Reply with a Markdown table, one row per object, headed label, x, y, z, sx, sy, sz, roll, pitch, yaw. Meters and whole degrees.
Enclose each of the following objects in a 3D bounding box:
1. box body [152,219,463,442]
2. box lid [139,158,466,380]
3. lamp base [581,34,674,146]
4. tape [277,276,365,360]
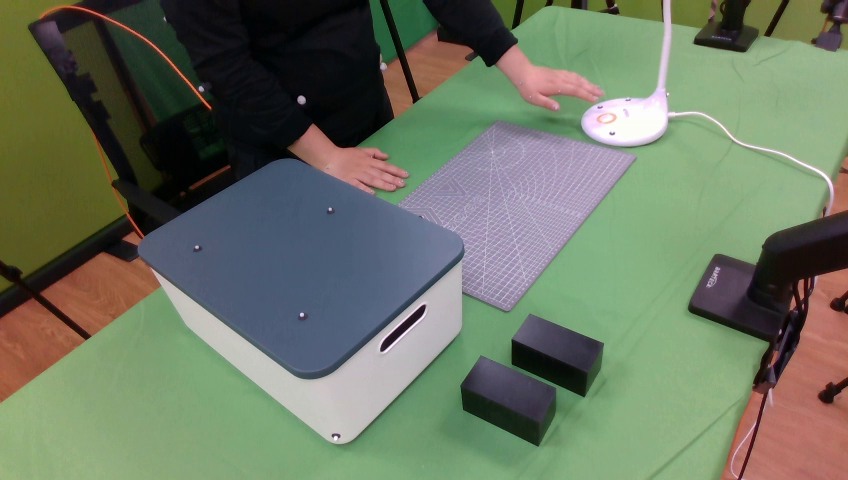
| label | x | y | z | sx | sy | sz | roll | pitch | yaw |
| --- | --- | --- | --- | --- | --- | --- | --- | --- | --- |
| box body | -0.152 | 0.064 | 0.807 | 0.361 | 0.161 | 0.255 | 26 | 51 | 33 |
| box lid | -0.158 | 0.010 | 0.758 | 0.368 | 0.015 | 0.264 | 26 | 50 | 33 |
| lamp base | 0.392 | -0.291 | 1.129 | 0.180 | 0.181 | 0.159 | -11 | 41 | -8 |
| tape | -0.140 | 0.106 | 0.832 | 0.117 | 0.053 | 0.116 | -4 | 41 | 4 |
